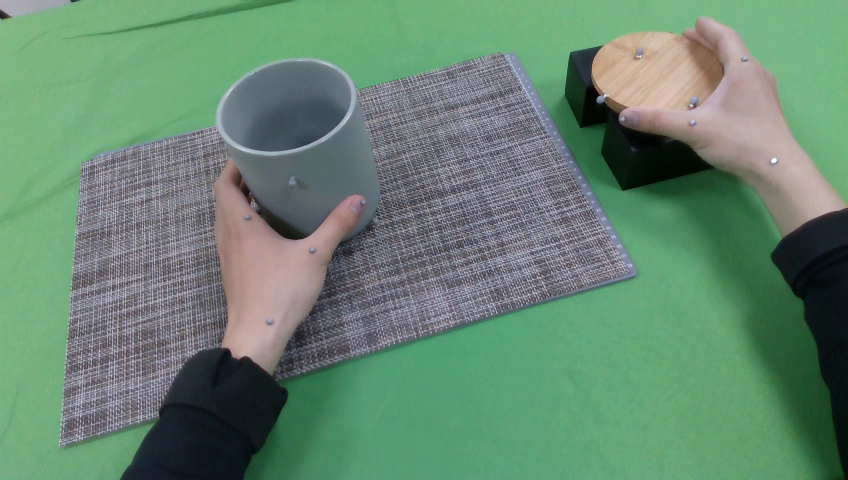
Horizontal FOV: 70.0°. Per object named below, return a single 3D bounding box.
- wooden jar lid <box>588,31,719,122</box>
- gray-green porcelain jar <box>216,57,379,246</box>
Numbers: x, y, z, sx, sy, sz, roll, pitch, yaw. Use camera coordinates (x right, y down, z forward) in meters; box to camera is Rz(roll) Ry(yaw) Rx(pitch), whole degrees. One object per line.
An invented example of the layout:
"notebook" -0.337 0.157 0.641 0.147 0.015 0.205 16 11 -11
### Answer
"wooden jar lid" 0.197 -0.141 0.526 0.108 0.021 0.107 -3 56 5
"gray-green porcelain jar" -0.095 -0.065 0.496 0.106 0.128 0.105 -3 54 5
